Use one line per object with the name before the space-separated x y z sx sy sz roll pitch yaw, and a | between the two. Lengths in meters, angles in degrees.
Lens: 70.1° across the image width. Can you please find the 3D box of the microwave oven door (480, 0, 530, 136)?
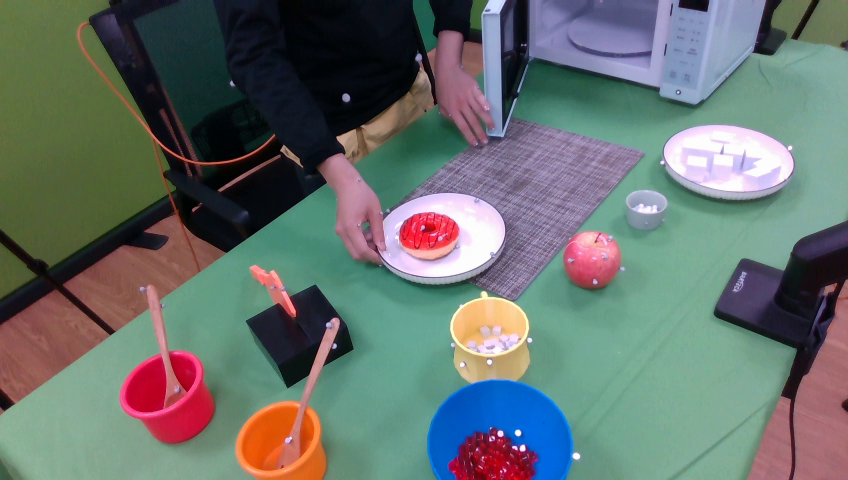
microwave oven door | 0.171 -0.408 1.231 0.039 0.245 0.355 6 42 16

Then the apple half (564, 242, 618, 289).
apple half | 0.229 0.044 0.848 0.081 0.081 0.033 16 41 26

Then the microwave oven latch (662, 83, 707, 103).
microwave oven latch | 0.517 -0.296 1.204 0.078 0.029 0.030 27 52 35

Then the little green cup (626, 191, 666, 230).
little green cup | 0.352 -0.046 0.963 0.061 0.039 0.061 -4 40 4

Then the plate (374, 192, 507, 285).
plate | 0.027 0.000 0.952 0.209 0.038 0.208 -4 40 4

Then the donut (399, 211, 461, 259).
donut | 0.009 -0.008 0.948 0.099 0.048 0.098 -4 39 4

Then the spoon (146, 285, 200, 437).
spoon | -0.319 0.148 0.754 0.042 0.021 0.193 -15 85 -11

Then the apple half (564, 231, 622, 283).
apple half | 0.248 0.021 0.874 0.080 0.075 0.053 13 40 28

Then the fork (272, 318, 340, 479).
fork | -0.131 0.186 0.676 0.028 0.019 0.207 17 90 28

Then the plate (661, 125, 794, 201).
plate | 0.513 -0.128 1.035 0.207 0.039 0.206 -4 40 4

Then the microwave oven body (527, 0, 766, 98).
microwave oven body | 0.472 -0.513 1.317 0.438 0.261 0.327 26 51 34

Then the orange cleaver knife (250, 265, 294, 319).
orange cleaver knife | -0.221 0.073 0.876 0.012 0.077 0.210 -24 13 -22

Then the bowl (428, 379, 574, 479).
bowl | 0.082 0.233 0.644 0.151 0.077 0.150 -4 39 4

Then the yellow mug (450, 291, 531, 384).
yellow mug | 0.085 0.120 0.786 0.100 0.064 0.130 -7 39 1
